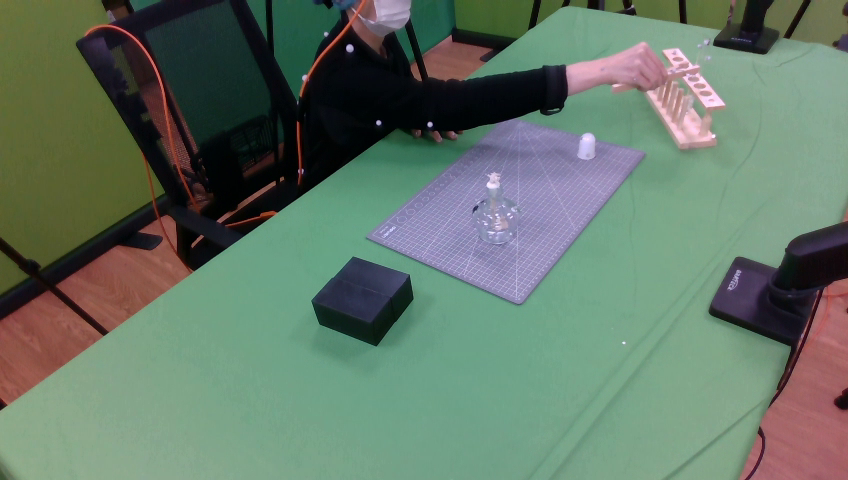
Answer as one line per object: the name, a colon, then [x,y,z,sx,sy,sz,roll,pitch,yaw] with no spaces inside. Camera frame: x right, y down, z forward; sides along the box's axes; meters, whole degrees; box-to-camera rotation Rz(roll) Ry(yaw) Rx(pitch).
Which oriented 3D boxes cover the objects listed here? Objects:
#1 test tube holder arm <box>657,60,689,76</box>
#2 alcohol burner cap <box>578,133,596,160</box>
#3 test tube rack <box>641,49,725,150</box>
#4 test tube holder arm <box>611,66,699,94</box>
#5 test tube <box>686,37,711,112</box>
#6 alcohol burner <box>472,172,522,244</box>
test tube holder arm: [0.448,-0.304,1.093,0.088,0.015,0.010,-31,50,-27]
alcohol burner cap: [0.301,-0.174,1.111,0.034,0.048,0.033,-5,41,4]
test tube rack: [0.495,-0.279,1.175,0.067,0.085,0.241,-5,41,3]
test tube holder arm: [0.412,-0.286,1.075,0.179,0.015,0.013,-17,44,-15]
test tube: [0.509,-0.306,1.128,0.017,0.151,0.017,-3,45,3]
alcohol burner: [0.112,-0.053,0.942,0.078,0.119,0.077,-6,40,5]
